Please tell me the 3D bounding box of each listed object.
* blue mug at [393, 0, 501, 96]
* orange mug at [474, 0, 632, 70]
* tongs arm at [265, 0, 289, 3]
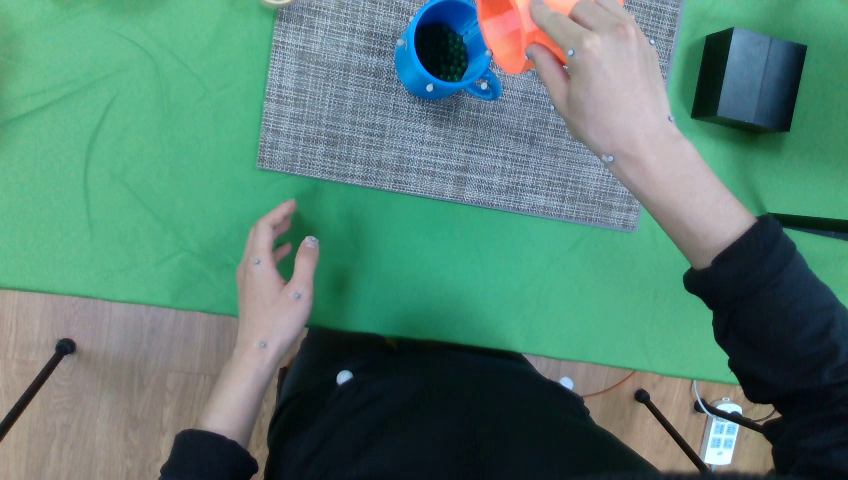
[{"bbox_3d":[0.029,-0.186,0.617,0.117,0.105,0.082,35,90,-14],"label":"blue mug"},{"bbox_3d":[0.112,-0.194,0.515,0.101,0.124,0.084,-21,137,-8],"label":"orange mug"},{"bbox_3d":[-0.240,-0.397,0.551,0.051,0.026,0.387,-31,110,-9],"label":"tongs arm"}]
